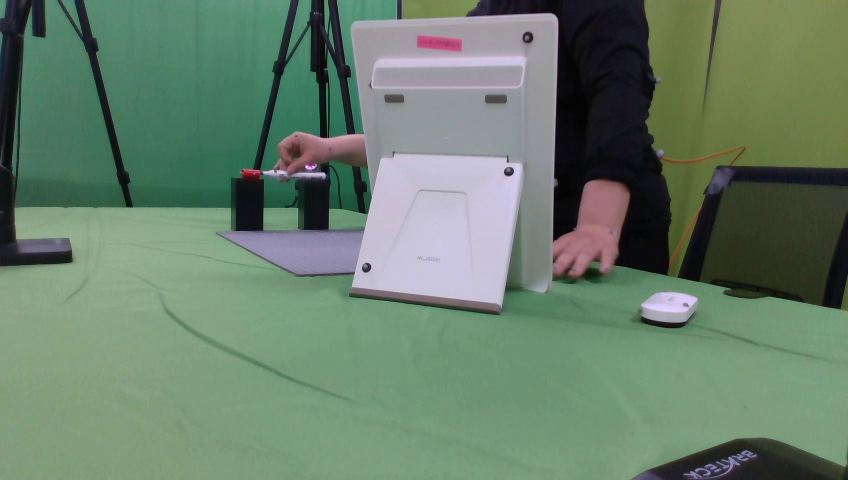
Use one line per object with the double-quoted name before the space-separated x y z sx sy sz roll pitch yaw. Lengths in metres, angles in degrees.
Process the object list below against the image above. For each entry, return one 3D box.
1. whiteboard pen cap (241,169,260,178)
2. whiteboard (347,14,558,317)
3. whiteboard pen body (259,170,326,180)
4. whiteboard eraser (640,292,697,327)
"whiteboard pen cap" -0.328 -0.126 1.142 0.032 0.017 0.017 -1 8 -35
"whiteboard" 0.012 -0.056 0.608 0.216 0.305 0.144 5 27 20
"whiteboard pen body" -0.258 -0.128 1.187 0.141 0.017 0.017 -1 8 -35
"whiteboard eraser" 0.240 0.066 0.590 0.041 0.019 0.102 7 7 31
